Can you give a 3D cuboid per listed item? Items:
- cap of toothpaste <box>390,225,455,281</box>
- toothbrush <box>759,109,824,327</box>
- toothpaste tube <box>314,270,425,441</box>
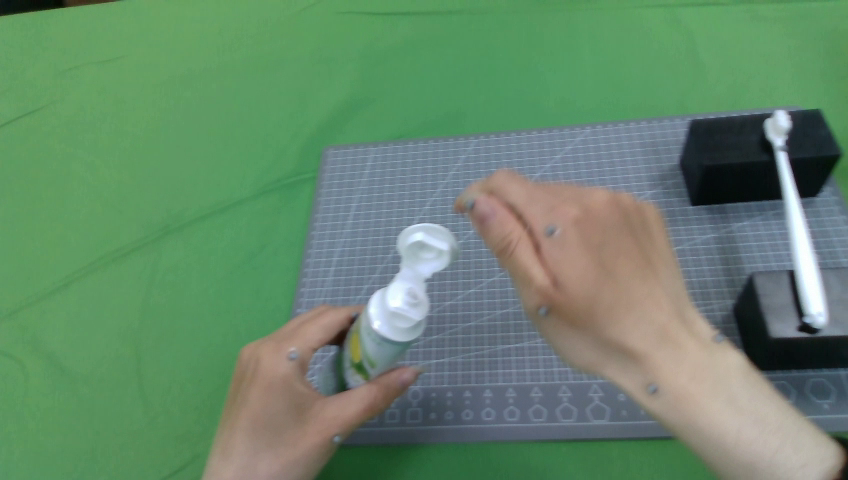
[{"bbox_3d":[-0.002,0.007,0.331,0.037,0.038,0.011,-1,41,10],"label":"cap of toothpaste"},{"bbox_3d":[0.255,-0.023,0.421,0.014,0.017,0.180,10,58,-1],"label":"toothbrush"},{"bbox_3d":[-0.042,0.072,0.383,0.035,0.165,0.054,6,51,-27],"label":"toothpaste tube"}]
